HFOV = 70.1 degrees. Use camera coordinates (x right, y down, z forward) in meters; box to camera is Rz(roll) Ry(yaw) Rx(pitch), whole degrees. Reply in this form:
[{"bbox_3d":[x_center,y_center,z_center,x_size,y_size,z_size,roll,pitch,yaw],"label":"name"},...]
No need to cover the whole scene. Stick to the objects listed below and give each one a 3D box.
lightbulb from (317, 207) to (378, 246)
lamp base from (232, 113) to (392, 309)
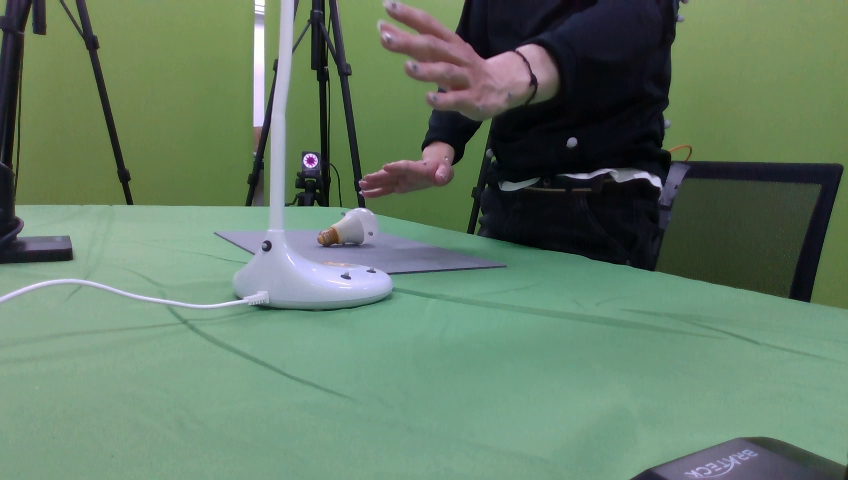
[{"bbox_3d":[-0.123,-0.016,0.968,0.108,0.059,0.059,-21,20,-33],"label":"lightbulb"},{"bbox_3d":[-0.113,-0.032,0.595,0.160,0.180,0.179,4,10,17],"label":"lamp base"}]
